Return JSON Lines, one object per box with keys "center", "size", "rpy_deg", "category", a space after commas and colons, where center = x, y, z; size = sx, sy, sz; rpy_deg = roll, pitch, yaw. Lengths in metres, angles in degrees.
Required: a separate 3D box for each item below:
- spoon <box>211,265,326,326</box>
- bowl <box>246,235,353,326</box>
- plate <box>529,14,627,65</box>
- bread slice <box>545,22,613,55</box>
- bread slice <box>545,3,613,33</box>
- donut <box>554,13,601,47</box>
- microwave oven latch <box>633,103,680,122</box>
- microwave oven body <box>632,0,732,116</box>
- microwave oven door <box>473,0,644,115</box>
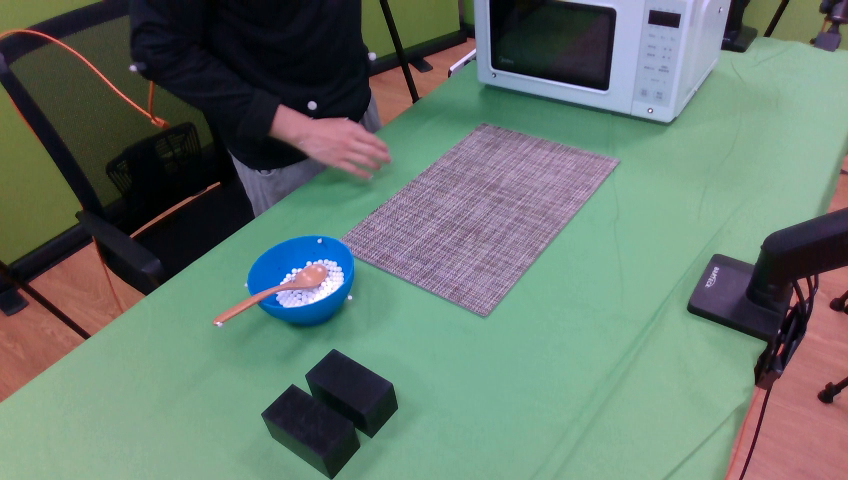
{"center": [-0.208, 0.072, 0.822], "size": [0.041, 0.021, 0.195], "rpy_deg": [26, 29, 27], "category": "spoon"}
{"center": [-0.170, 0.070, 0.868], "size": [0.151, 0.077, 0.150], "rpy_deg": [-4, 41, 4], "category": "bowl"}
{"center": [0.332, -0.433, 1.317], "size": [0.207, 0.039, 0.206], "rpy_deg": [-5, 42, 5], "category": "plate"}
{"center": [0.339, -0.440, 1.311], "size": [0.135, 0.018, 0.106], "rpy_deg": [-11, 48, -8], "category": "bread slice"}
{"center": [0.330, -0.474, 1.280], "size": [0.131, 0.019, 0.104], "rpy_deg": [-10, 38, 0], "category": "bread slice"}
{"center": [0.328, -0.452, 1.296], "size": [0.099, 0.048, 0.098], "rpy_deg": [-5, 46, 6], "category": "donut"}
{"center": [0.443, -0.249, 1.157], "size": [0.078, 0.029, 0.030], "rpy_deg": [21, 48, 30], "category": "microwave oven latch"}
{"center": [0.377, -0.462, 1.267], "size": [0.438, 0.261, 0.327], "rpy_deg": [21, 48, 30], "category": "microwave oven body"}
{"center": [0.257, -0.396, 1.199], "size": [0.353, 0.245, 0.039], "rpy_deg": [21, 48, 29], "category": "microwave oven door"}
